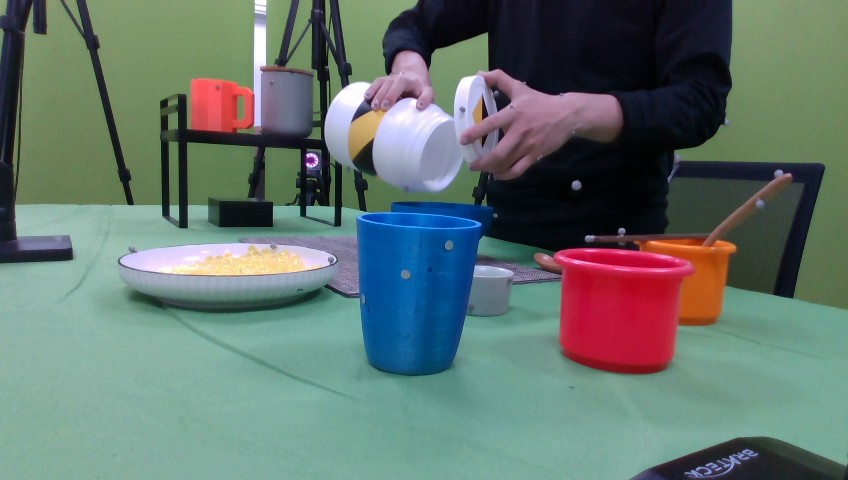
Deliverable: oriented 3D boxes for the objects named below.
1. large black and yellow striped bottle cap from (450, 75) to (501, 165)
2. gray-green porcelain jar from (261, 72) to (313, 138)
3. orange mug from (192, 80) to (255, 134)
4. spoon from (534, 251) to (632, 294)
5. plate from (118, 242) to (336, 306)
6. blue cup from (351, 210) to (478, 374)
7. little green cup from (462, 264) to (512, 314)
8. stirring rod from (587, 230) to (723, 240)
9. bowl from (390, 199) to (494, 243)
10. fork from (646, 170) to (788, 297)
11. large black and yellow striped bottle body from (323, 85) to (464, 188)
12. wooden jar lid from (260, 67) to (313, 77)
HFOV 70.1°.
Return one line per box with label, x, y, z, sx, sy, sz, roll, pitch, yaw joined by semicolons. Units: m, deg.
large black and yellow striped bottle cap;0.069;-0.156;0.782;0.018;0.115;0.115;-10;1;30
gray-green porcelain jar;-0.284;-0.276;1.253;0.106;0.126;0.106;2;8;0
orange mug;-0.389;-0.257;1.172;0.126;0.100;0.083;-1;6;9
spoon;0.193;0.038;0.753;0.042;0.021;0.193;14;2;-21
plate;-0.194;0.033;0.615;0.209;0.038;0.209;2;7;0
blue cup;-0.009;0.034;0.414;0.093;0.100;0.092;4;8;0
little green cup;0.053;0.047;0.579;0.061;0.038;0.061;3;8;0
stirring rod;0.227;-0.006;0.585;0.177;0.006;0.014;-2;6;-28
bowl;0.024;-0.016;0.873;0.151;0.077;0.151;2;7;0
fork;0.256;0.004;0.543;0.028;0.018;0.207;3;-36;-10
large black and yellow striped bottle body;-0.043;-0.152;0.896;0.183;0.130;0.131;20;16;33
wooden jar lid;-0.283;-0.339;1.244;0.108;0.020;0.108;5;9;0
